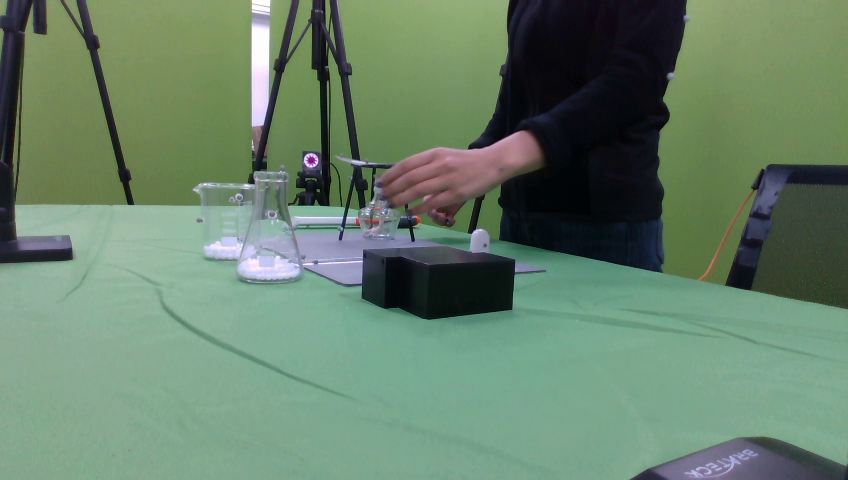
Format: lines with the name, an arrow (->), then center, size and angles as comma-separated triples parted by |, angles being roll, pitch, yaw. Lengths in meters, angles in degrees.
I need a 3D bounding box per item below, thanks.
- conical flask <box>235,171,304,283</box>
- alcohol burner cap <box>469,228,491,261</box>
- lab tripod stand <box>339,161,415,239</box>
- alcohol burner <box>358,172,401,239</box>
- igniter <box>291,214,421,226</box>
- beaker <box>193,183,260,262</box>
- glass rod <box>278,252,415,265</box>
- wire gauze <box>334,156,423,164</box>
conical flask -> -0.172, -0.016, 0.677 | 0.075, 0.122, 0.075 | 2, 7, 0
alcohol burner cap -> 0.082, 0.006, 0.878 | 0.034, 0.048, 0.034 | 3, 6, 0
lab tripod stand -> -0.082, -0.070, 1.059 | 0.148, 0.131, 0.148 | 4, 6, 0
alcohol burner -> -0.077, -0.061, 1.065 | 0.078, 0.119, 0.078 | 4, 9, 0
igniter -> -0.135, -0.041, 1.250 | 0.278, 0.025, 0.057 | -1, -3, -28
beaker -> -0.262, -0.025, 0.806 | 0.084, 0.100, 0.073 | -3, 9, -30
glass rod -> -0.097, 0.024, 0.805 | 0.201, 0.008, 0.008 | -3, 8, -33
wire gauze -> -0.081, -0.137, 1.051 | 0.122, 0.011, 0.124 | 0, 8, -29
